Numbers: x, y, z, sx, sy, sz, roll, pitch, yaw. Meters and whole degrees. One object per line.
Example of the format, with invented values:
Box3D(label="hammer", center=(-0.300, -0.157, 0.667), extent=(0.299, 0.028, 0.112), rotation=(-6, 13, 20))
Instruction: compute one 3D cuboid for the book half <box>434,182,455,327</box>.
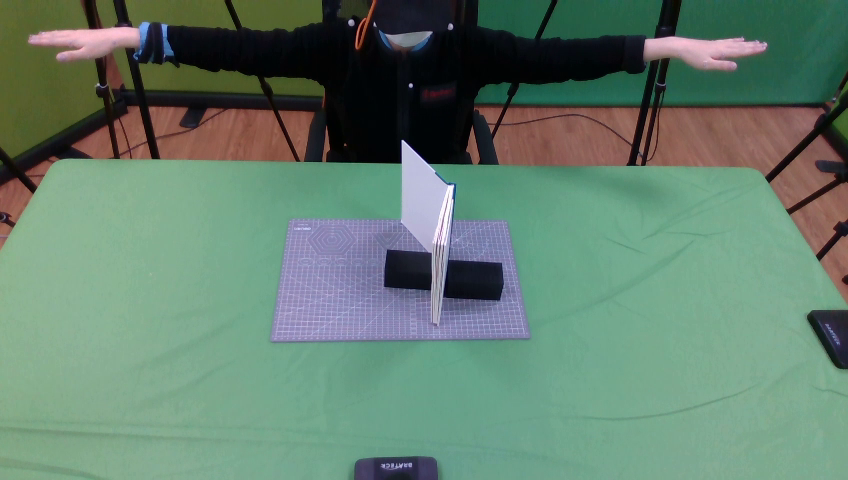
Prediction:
Box3D(label="book half", center=(0.033, 0.028, 1.036), extent=(0.016, 0.211, 0.148), rotation=(7, 46, 4))

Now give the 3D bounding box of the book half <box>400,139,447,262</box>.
Box3D(label="book half", center=(-0.005, -0.066, 1.124), extent=(0.007, 0.211, 0.142), rotation=(-26, 53, -24))
